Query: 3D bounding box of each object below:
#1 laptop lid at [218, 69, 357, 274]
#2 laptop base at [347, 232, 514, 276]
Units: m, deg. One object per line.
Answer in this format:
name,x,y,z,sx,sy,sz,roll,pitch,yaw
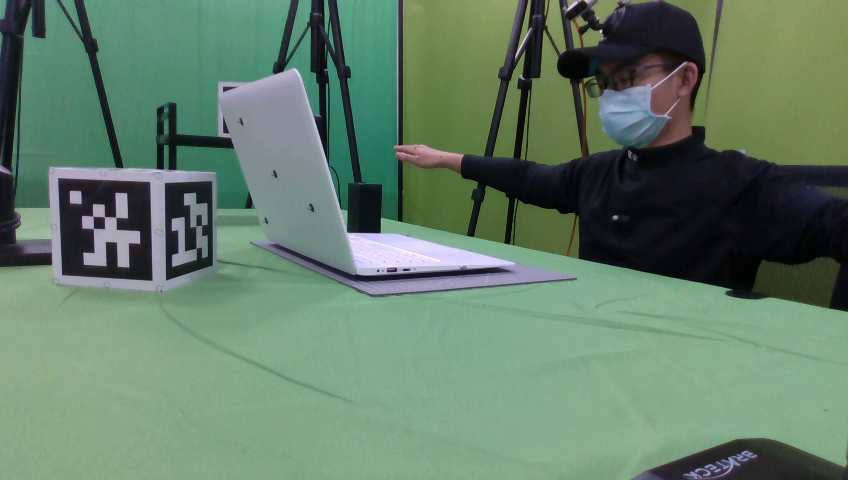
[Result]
laptop lid,-0.195,-0.090,0.798,0.013,0.242,0.355,-23,20,-27
laptop base,-0.066,0.016,0.893,0.237,0.023,0.352,1,6,-32
